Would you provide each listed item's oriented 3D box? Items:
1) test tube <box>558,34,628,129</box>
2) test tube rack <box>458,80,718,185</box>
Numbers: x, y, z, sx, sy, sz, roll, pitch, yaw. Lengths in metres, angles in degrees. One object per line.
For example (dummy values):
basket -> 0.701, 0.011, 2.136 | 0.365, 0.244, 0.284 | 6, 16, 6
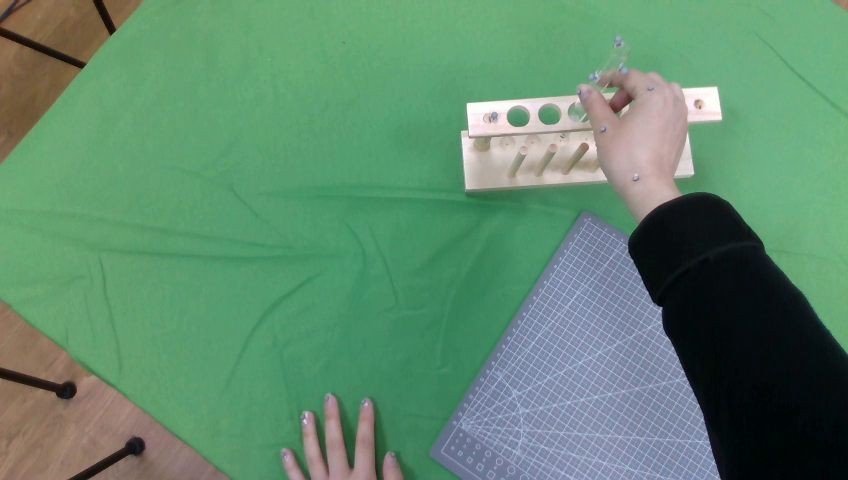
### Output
test tube -> 0.148, -0.138, 0.552 | 0.017, 0.151, 0.017 | 1, 75, -5
test tube rack -> 0.160, -0.106, 0.614 | 0.242, 0.085, 0.066 | -4, 80, -2
